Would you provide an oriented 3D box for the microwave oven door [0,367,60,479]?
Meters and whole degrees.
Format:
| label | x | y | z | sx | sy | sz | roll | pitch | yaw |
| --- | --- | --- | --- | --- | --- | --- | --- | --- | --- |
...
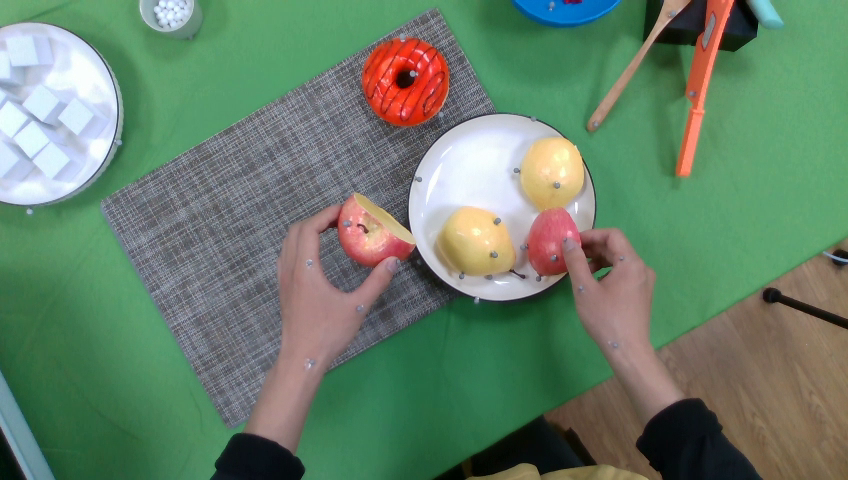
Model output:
| label | x | y | z | sx | sy | sz | roll | pitch | yaw |
| --- | --- | --- | --- | --- | --- | --- | --- | --- | --- |
| microwave oven door | -0.445 | 0.250 | 0.571 | 0.039 | 0.244 | 0.355 | -28 | 89 | 1 |

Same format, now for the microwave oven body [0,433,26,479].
| label | x | y | z | sx | sy | sz | roll | pitch | yaw |
| --- | --- | --- | --- | --- | --- | --- | --- | --- | --- |
| microwave oven body | -0.595 | 0.278 | 0.579 | 0.326 | 0.260 | 0.441 | -27 | 90 | 1 |

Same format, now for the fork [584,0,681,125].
| label | x | y | z | sx | sy | sz | roll | pitch | yaw |
| --- | --- | --- | --- | --- | --- | --- | --- | --- | --- |
| fork | 0.234 | -0.214 | 0.650 | 0.028 | 0.018 | 0.208 | 28 | 111 | -7 |

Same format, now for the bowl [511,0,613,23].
| label | x | y | z | sx | sy | sz | roll | pitch | yaw |
| --- | --- | --- | --- | --- | --- | --- | --- | --- | --- |
| bowl | 0.146 | -0.301 | 0.656 | 0.151 | 0.077 | 0.151 | 0 | 91 | 1 |

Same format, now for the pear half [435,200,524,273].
| label | x | y | z | sx | sy | sz | roll | pitch | yaw |
| --- | --- | --- | --- | --- | --- | --- | --- | --- | --- |
| pear half | 0.067 | 0.004 | 0.662 | 0.110 | 0.056 | 0.076 | 33 | 96 | -3 |

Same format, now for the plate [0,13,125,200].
| label | x | y | z | sx | sy | sz | roll | pitch | yaw |
| --- | --- | --- | --- | --- | --- | --- | --- | --- | --- |
| plate | -0.439 | -0.148 | 0.688 | 0.208 | 0.039 | 0.207 | 0 | 90 | 1 |

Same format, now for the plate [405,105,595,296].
| label | x | y | z | sx | sy | sz | roll | pitch | yaw |
| --- | --- | --- | --- | --- | --- | --- | --- | --- | --- |
| plate | 0.083 | -0.043 | 0.675 | 0.209 | 0.038 | 0.209 | 0 | 90 | 1 |

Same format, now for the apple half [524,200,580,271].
| label | x | y | z | sx | sy | sz | roll | pitch | yaw |
| --- | --- | --- | --- | --- | --- | --- | --- | --- | --- |
| apple half | 0.128 | -0.004 | 0.646 | 0.033 | 0.081 | 0.081 | -5 | 90 | -31 |

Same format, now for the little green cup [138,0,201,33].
| label | x | y | z | sx | sy | sz | roll | pitch | yaw |
| --- | --- | --- | --- | --- | --- | --- | --- | --- | --- |
| little green cup | -0.285 | -0.265 | 0.684 | 0.061 | 0.038 | 0.061 | 0 | 90 | 2 |

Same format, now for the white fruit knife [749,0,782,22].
| label | x | y | z | sx | sy | sz | roll | pitch | yaw |
| --- | --- | --- | --- | --- | --- | --- | --- | --- | --- |
| white fruit knife | 0.316 | -0.318 | 0.635 | 0.027 | 0.016 | 0.207 | -28 | 88 | -28 |

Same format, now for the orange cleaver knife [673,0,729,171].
| label | x | y | z | sx | sy | sz | roll | pitch | yaw |
| --- | --- | --- | --- | --- | --- | --- | --- | --- | --- |
| orange cleaver knife | 0.295 | -0.181 | 0.652 | 0.012 | 0.077 | 0.212 | 7 | 116 | 6 |

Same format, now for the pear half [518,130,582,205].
| label | x | y | z | sx | sy | sz | roll | pitch | yaw |
| --- | --- | --- | --- | --- | --- | --- | --- | --- | --- |
| pear half | 0.134 | -0.075 | 0.660 | 0.070 | 0.031 | 0.088 | 6 | 100 | 24 |

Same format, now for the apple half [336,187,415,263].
| label | x | y | z | sx | sy | sz | roll | pitch | yaw |
| --- | --- | --- | --- | --- | --- | --- | --- | --- | --- |
| apple half | -0.054 | -0.008 | 0.598 | 0.081 | 0.074 | 0.053 | 40 | 101 | 2 |

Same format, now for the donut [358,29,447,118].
| label | x | y | z | sx | sy | sz | roll | pitch | yaw |
| --- | --- | --- | --- | --- | --- | --- | --- | --- | --- |
| donut | -0.024 | -0.184 | 0.673 | 0.099 | 0.048 | 0.099 | 0 | 92 | 4 |
